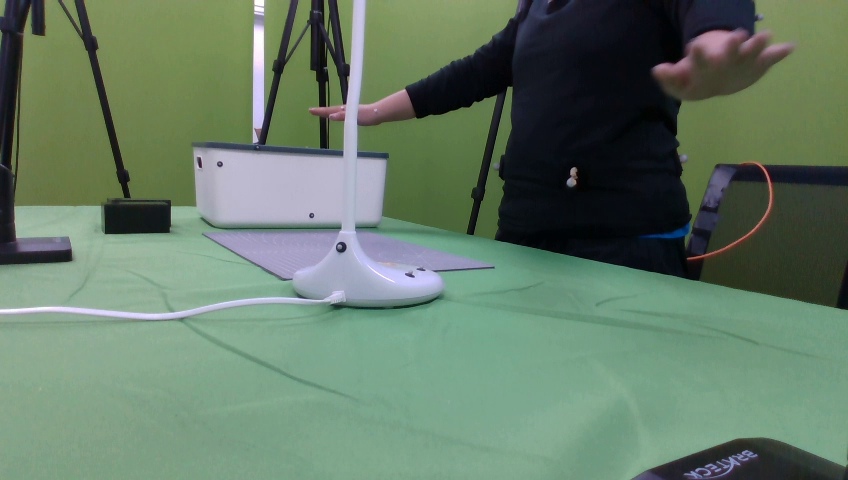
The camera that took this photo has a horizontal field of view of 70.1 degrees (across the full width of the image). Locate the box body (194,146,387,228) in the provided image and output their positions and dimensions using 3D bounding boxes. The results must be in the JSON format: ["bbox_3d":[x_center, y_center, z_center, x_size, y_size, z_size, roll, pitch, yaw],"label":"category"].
[{"bbox_3d":[-0.288,-0.118,1.291,0.366,0.160,0.253,-1,8,-27],"label":"box body"}]

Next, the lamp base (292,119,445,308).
[{"bbox_3d":[-0.056,-0.030,0.616,0.160,0.180,0.179,4,10,8],"label":"lamp base"}]

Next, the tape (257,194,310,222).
[{"bbox_3d":[-0.301,-0.070,1.297,0.117,0.052,0.117,3,7,0],"label":"tape"}]

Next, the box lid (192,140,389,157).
[{"bbox_3d":[-0.287,-0.191,1.281,0.373,0.015,0.262,0,8,-28],"label":"box lid"}]
